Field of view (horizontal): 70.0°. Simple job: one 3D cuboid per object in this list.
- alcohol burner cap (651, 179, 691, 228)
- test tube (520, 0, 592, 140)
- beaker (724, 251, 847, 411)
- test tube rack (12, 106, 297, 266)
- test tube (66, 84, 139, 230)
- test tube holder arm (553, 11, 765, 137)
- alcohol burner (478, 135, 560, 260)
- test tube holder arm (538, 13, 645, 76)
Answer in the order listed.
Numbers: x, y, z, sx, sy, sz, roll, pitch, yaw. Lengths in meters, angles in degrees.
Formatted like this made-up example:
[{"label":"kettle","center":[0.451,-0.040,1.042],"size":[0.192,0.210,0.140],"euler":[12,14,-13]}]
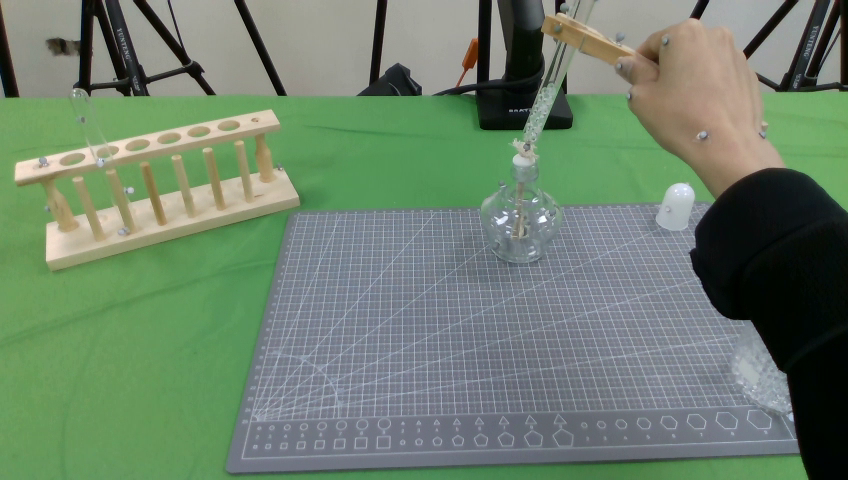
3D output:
[{"label":"alcohol burner cap","center":[0.252,-0.039,0.614],"size":[0.034,0.048,0.033],"euler":[0,40,0]},{"label":"test tube","center":[0.105,-0.144,0.475],"size":[0.017,0.151,0.017],"euler":[11,39,-9]},{"label":"beaker","center":[0.267,0.068,0.441],"size":[0.074,0.101,0.083],"euler":[-21,43,-22]},{"label":"test tube rack","center":[-0.260,-0.059,0.609],"size":[0.243,0.086,0.066],"euler":[-17,43,-19]},{"label":"test tube","center":[-0.292,-0.071,0.555],"size":[0.017,0.152,0.017],"euler":[-1,39,1]},{"label":"test tube holder arm","center":[0.159,-0.123,0.432],"size":[0.013,0.015,0.176],"euler":[-25,53,-36]},{"label":"alcohol burner","center":[0.088,-0.041,0.560],"size":[0.078,0.120,0.077],"euler":[-1,39,1]},{"label":"test tube holder arm","center":[0.124,-0.146,0.448],"size":[0.087,0.015,0.010],"euler":[35,44,23]}]
